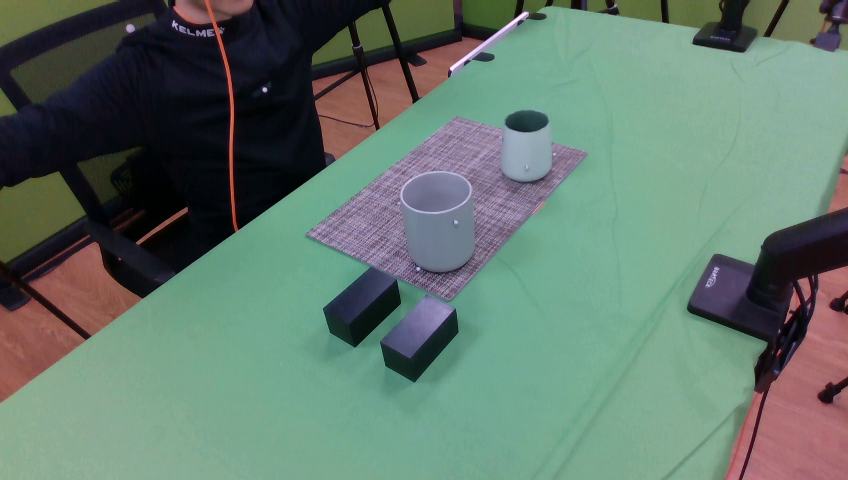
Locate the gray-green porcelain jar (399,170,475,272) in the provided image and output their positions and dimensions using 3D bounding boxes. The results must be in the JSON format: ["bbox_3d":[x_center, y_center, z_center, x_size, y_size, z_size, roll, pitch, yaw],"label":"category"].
[{"bbox_3d":[0.023,-0.024,0.907,0.106,0.127,0.105,-4,41,4],"label":"gray-green porcelain jar"}]

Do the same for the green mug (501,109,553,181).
[{"bbox_3d":[0.177,-0.177,1.079,0.093,0.105,0.124,-13,41,-6],"label":"green mug"}]
